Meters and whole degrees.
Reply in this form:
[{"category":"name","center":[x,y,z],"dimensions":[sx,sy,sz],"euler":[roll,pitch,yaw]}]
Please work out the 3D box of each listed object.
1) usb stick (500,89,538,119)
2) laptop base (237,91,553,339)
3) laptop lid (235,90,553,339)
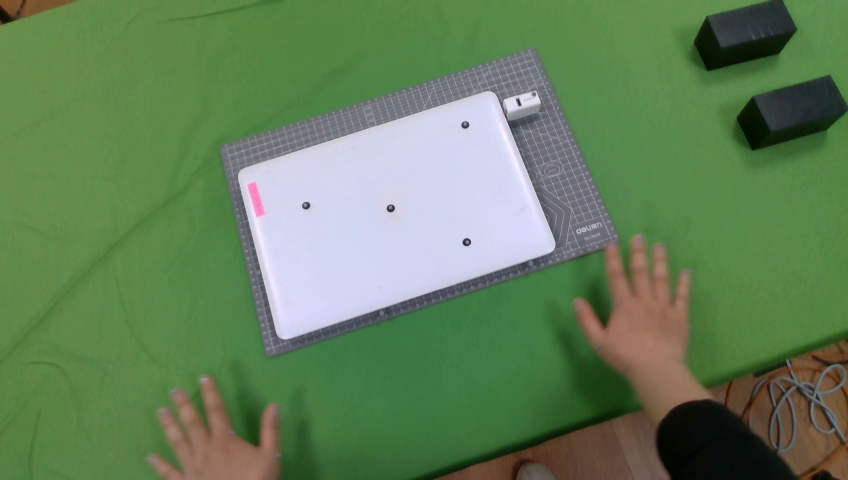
[{"category":"usb stick","center":[0.116,-0.174,0.783],"dimensions":[0.059,0.027,0.021],"euler":[-17,71,1]},{"category":"laptop base","center":[-0.043,-0.038,0.764],"dimensions":[0.354,0.023,0.234],"euler":[-18,75,-2]},{"category":"laptop lid","center":[-0.043,-0.039,0.752],"dimensions":[0.357,0.013,0.240],"euler":[-17,74,-1]}]
